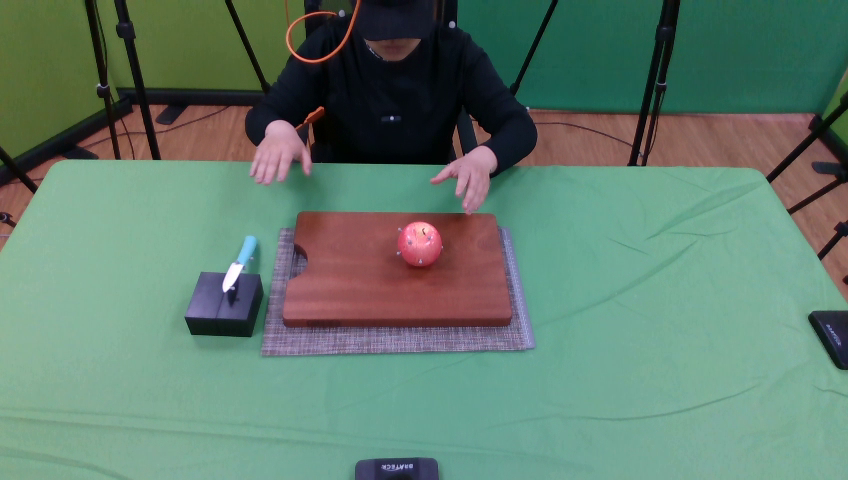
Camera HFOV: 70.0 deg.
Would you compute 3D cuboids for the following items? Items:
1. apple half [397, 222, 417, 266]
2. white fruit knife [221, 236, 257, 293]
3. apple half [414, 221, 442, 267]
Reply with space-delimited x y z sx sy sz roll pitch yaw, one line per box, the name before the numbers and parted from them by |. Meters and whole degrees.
apple half | -0.033 0.010 1.109 0.033 0.081 0.081 0 46 -10
white fruit knife | -0.333 0.043 1.094 0.027 0.016 0.206 2 27 -3
apple half | 0.006 0.009 1.115 0.053 0.075 0.080 0 42 -10
